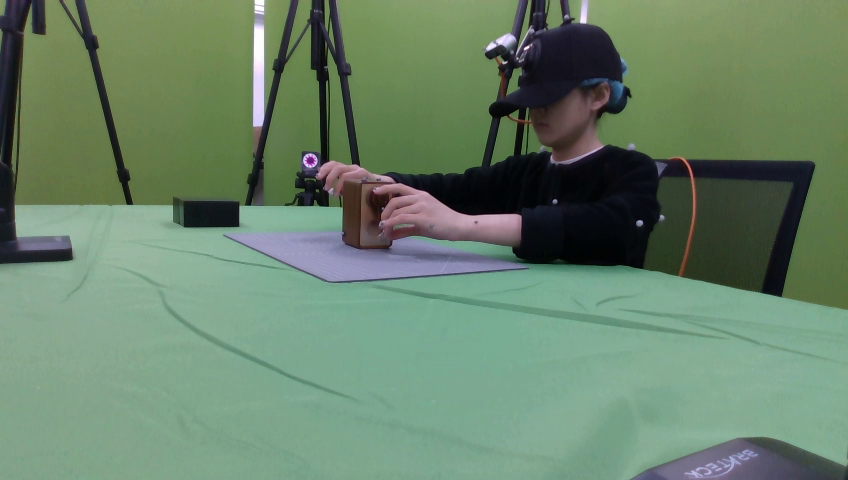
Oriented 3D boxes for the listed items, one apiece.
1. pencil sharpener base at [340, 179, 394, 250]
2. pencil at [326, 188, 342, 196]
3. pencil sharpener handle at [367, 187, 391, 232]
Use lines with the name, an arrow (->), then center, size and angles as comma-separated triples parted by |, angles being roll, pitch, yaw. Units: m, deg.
pencil sharpener base -> -0.091, -0.041, 0.960 | 0.061, 0.107, 0.076 | -1, 9, -30
pencil -> -0.129, -0.077, 1.026 | 0.012, 0.012, 0.193 | -1, 8, -30
pencil sharpener handle -> -0.063, -0.046, 0.916 | 0.036, 0.068, 0.030 | -11, 14, -28
